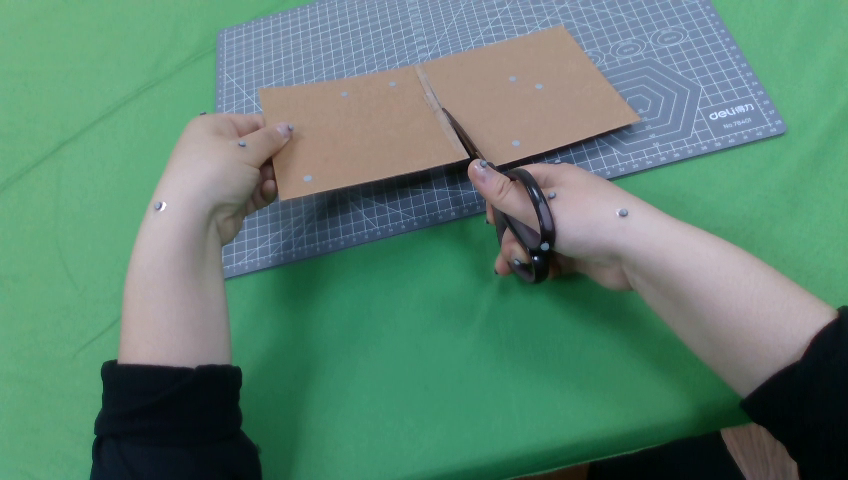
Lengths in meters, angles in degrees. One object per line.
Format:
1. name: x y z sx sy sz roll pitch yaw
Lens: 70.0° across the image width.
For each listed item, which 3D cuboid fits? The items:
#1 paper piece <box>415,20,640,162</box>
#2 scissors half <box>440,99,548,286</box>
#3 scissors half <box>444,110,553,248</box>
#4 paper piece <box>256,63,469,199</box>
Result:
1. paper piece: 0.077 -0.124 0.484 0.135 0.004 0.134 -18 55 -7
2. scissors half: 0.044 -0.041 0.430 0.013 0.040 0.173 -19 62 -9
3. scissors half: 0.042 -0.054 0.414 0.013 0.040 0.173 -16 39 -13
4. paper piece: -0.053 -0.090 0.458 0.138 0.009 0.134 -15 44 -8
